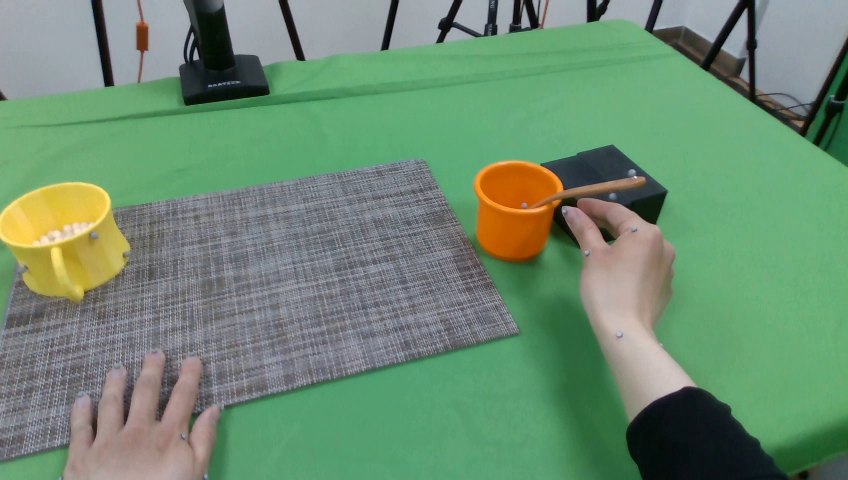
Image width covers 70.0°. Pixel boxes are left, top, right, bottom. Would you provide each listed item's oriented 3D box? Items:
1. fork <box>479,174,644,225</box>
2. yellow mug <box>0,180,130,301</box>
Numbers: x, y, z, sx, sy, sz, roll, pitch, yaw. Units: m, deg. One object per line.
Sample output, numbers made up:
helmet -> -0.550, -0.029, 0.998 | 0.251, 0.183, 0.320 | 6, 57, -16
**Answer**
fork -> 0.125, -0.039, 0.593 | 0.028, 0.019, 0.206 | -36, 10, -33
yellow mug -> -0.344, 0.005, 0.584 | 0.100, 0.064, 0.129 | -17, 46, -19
